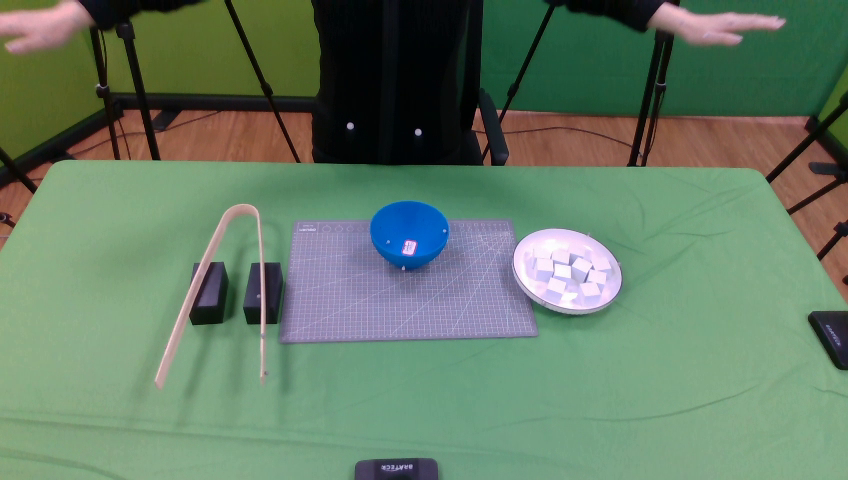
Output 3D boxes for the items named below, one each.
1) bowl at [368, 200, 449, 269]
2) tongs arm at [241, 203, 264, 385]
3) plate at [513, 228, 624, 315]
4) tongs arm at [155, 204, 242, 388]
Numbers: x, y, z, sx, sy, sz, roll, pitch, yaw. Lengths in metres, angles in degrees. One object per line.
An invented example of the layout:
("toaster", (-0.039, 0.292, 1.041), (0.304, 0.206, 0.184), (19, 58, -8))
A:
("bowl", (-0.031, 0.002, 1.151), (0.151, 0.077, 0.150), (2, 46, -2))
("tongs arm", (-0.295, 0.075, 1.031), (0.051, 0.026, 0.382), (-5, 47, -8))
("plate", (0.268, 0.063, 1.146), (0.208, 0.039, 0.206), (3, 46, -3))
("tongs arm", (-0.375, 0.075, 1.022), (0.028, 0.028, 0.385), (2, 46, 4))
